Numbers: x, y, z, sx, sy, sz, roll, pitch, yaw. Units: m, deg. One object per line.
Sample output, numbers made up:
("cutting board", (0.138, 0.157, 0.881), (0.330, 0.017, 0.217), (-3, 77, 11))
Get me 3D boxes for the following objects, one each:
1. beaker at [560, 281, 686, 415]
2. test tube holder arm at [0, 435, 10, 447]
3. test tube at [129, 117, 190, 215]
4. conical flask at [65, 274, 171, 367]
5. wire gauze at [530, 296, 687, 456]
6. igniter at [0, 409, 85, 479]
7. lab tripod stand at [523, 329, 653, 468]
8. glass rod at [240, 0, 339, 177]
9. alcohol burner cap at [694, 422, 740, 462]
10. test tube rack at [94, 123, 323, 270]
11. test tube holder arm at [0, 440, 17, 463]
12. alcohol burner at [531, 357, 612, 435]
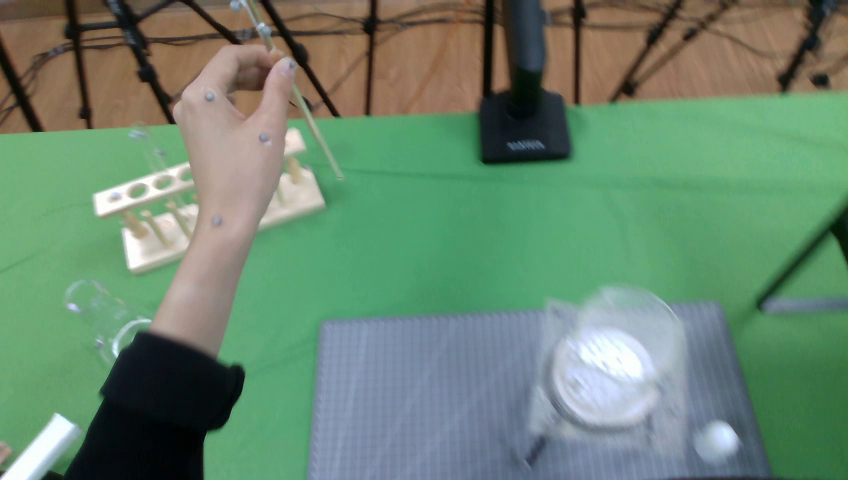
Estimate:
("beaker", (0.143, 0.089, 0.463), (0.084, 0.101, 0.073), (-23, 61, -10))
("test tube holder arm", (-0.446, 0.254, 0.541), (0.013, 0.015, 0.178), (42, 66, -9))
("test tube", (-0.301, -0.080, 0.698), (0.017, 0.151, 0.017), (-1, 52, 2))
("conical flask", (-0.327, 0.080, 0.640), (0.075, 0.123, 0.074), (-2, 58, 3))
("wire gauze", (0.156, 0.110, 0.506), (0.121, 0.011, 0.124), (10, 58, 7))
("igniter", (-0.412, 0.273, 0.528), (0.057, 0.025, 0.275), (21, 61, 26))
("lab tripod stand", (0.154, 0.149, 0.560), (0.148, 0.132, 0.147), (-1, 57, 1))
("glass rod", (-0.095, -0.110, 0.428), (0.008, 0.202, 0.008), (-7, 54, 10))
("alcohol burner cap", (0.283, 0.191, 0.580), (0.034, 0.048, 0.033), (-1, 59, 2))
("test tube rack", (-0.255, -0.053, 0.738), (0.242, 0.086, 0.066), (-21, 60, -9))
("test tube holder arm", (-0.417, 0.225, 0.560), (0.010, 0.015, 0.087), (42, 66, -9))
("alcohol burner", (0.143, 0.142, 0.576), (0.078, 0.120, 0.077), (-1, 57, 1))
